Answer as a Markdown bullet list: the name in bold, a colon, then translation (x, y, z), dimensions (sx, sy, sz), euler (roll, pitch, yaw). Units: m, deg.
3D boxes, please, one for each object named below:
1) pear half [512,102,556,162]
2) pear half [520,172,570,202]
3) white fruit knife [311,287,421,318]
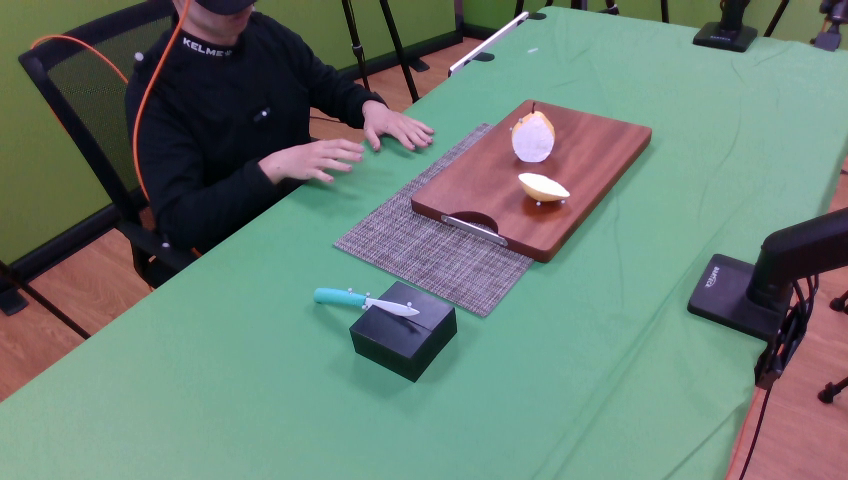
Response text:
- **pear half**: translation (0.193, -0.197, 1.060), dimensions (0.076, 0.110, 0.056), euler (3, 41, 6)
- **pear half**: translation (0.193, -0.080, 0.981), dimensions (0.087, 0.031, 0.071), euler (35, 38, 22)
- **white fruit knife**: translation (-0.084, 0.086, 0.831), dimensions (0.206, 0.027, 0.016), euler (5, 30, 37)
